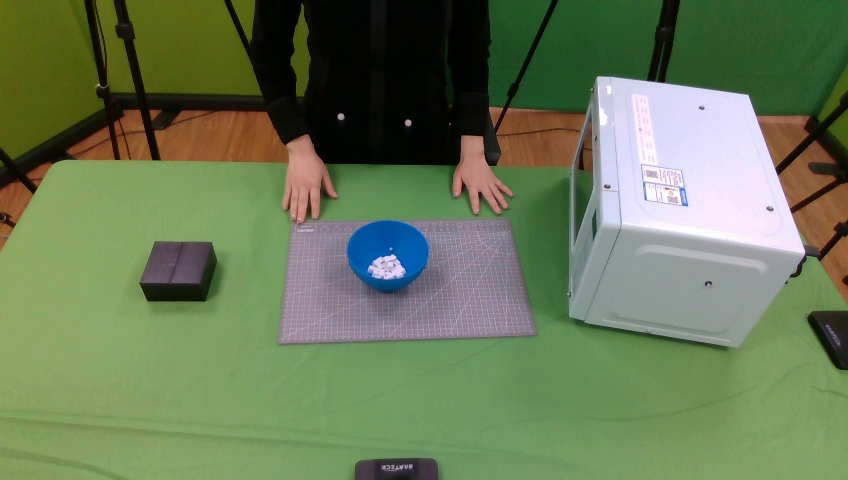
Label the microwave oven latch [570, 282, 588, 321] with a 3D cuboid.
[{"bbox_3d":[0.276,0.105,1.082,0.030,0.029,0.079,10,45,6],"label":"microwave oven latch"}]

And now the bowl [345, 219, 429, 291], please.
[{"bbox_3d":[-0.068,0.041,1.111,0.151,0.077,0.150,2,46,-2],"label":"bowl"}]

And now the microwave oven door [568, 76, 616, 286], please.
[{"bbox_3d":[0.319,-0.119,1.161,0.039,0.245,0.354,9,46,5],"label":"microwave oven door"}]

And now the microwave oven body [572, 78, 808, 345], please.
[{"bbox_3d":[0.455,-0.063,1.124,0.326,0.261,0.439,8,45,5],"label":"microwave oven body"}]
